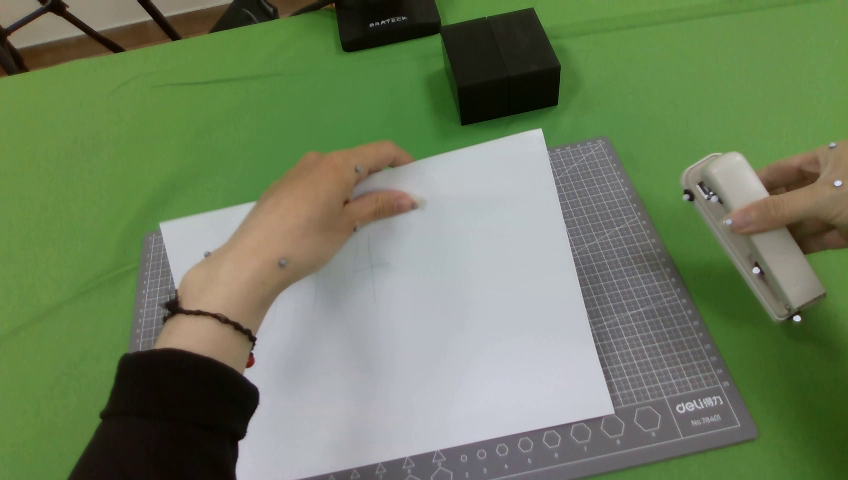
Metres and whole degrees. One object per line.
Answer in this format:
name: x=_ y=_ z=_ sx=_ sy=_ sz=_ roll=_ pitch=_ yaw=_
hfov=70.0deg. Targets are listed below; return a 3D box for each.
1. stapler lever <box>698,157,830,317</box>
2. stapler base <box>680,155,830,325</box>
stapler lever: x=0.229 y=-0.004 z=0.410 sx=0.027 sy=0.040 sz=0.117 roll=-34 pitch=77 yaw=14
stapler base: x=0.235 y=-0.003 z=0.433 sx=0.041 sy=0.024 sz=0.130 roll=-34 pitch=78 yaw=14
